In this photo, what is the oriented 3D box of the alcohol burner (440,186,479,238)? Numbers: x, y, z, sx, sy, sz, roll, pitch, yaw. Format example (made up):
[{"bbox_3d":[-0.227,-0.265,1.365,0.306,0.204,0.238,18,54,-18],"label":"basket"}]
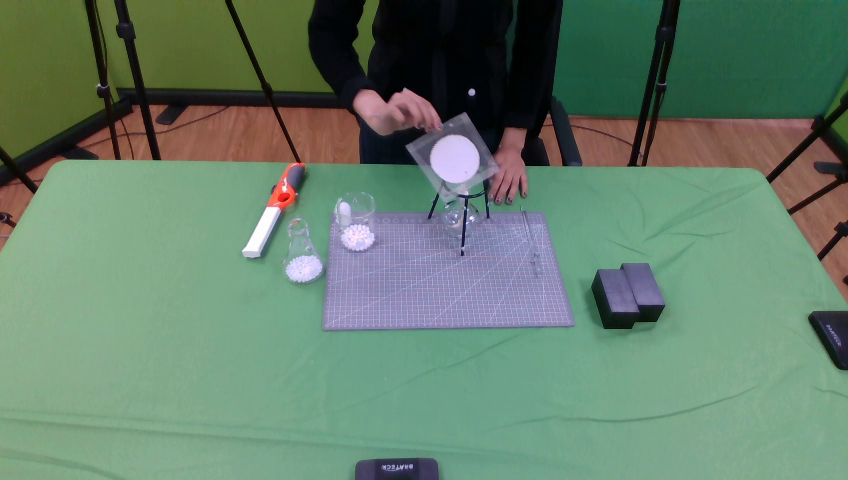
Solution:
[{"bbox_3d":[0.072,-0.061,1.198,0.078,0.119,0.077,3,47,-3],"label":"alcohol burner"}]

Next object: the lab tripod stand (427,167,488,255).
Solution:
[{"bbox_3d":[0.076,-0.068,1.191,0.148,0.132,0.147,2,44,-2],"label":"lab tripod stand"}]

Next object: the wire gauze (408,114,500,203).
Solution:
[{"bbox_3d":[0.055,-0.143,1.066,0.125,0.011,0.121,-31,91,-11],"label":"wire gauze"}]

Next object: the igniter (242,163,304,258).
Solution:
[{"bbox_3d":[-0.305,-0.069,1.239,0.057,0.025,0.275,2,45,12],"label":"igniter"}]

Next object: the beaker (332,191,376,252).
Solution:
[{"bbox_3d":[-0.133,-0.032,1.163,0.084,0.101,0.073,-19,50,-20],"label":"beaker"}]

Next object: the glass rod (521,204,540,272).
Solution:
[{"bbox_3d":[0.215,-0.008,1.230,0.008,0.008,0.198,0,43,-3],"label":"glass rod"}]

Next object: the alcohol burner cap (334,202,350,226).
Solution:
[{"bbox_3d":[-0.166,-0.055,1.223,0.034,0.048,0.033,2,46,-2],"label":"alcohol burner cap"}]

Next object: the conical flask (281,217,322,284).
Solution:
[{"bbox_3d":[-0.225,0.016,1.097,0.075,0.122,0.075,2,46,-2],"label":"conical flask"}]
